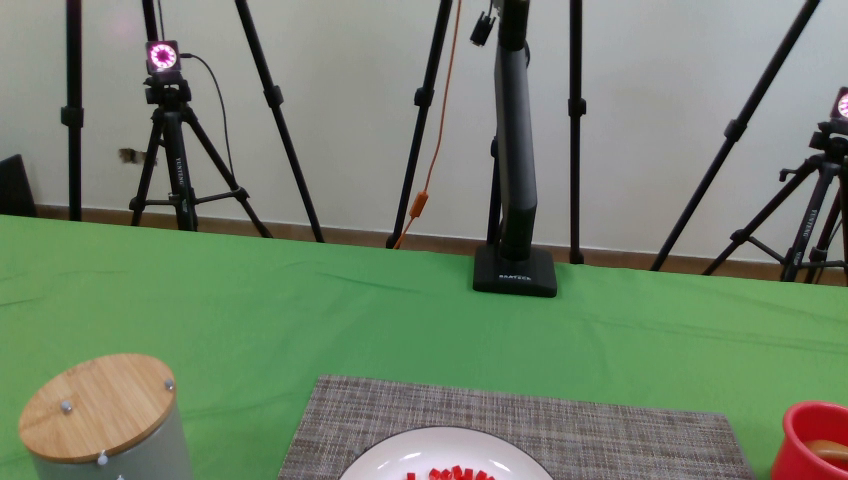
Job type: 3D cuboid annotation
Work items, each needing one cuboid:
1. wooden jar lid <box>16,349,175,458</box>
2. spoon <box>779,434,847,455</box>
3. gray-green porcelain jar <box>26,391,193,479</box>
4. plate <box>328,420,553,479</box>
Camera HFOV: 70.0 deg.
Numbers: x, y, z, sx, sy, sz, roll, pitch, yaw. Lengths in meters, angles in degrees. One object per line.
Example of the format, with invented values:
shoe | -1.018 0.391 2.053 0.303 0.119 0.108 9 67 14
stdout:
wooden jar lid | -0.246 0.125 0.463 0.108 0.021 0.107 2 31 -1
spoon | 0.397 0.182 0.521 0.042 0.021 0.193 -8 -9 -26
gray-green porcelain jar | -0.250 0.181 0.494 0.106 0.127 0.105 3 30 -1
plate | 0.016 0.239 0.500 0.208 0.039 0.206 3 29 -1
